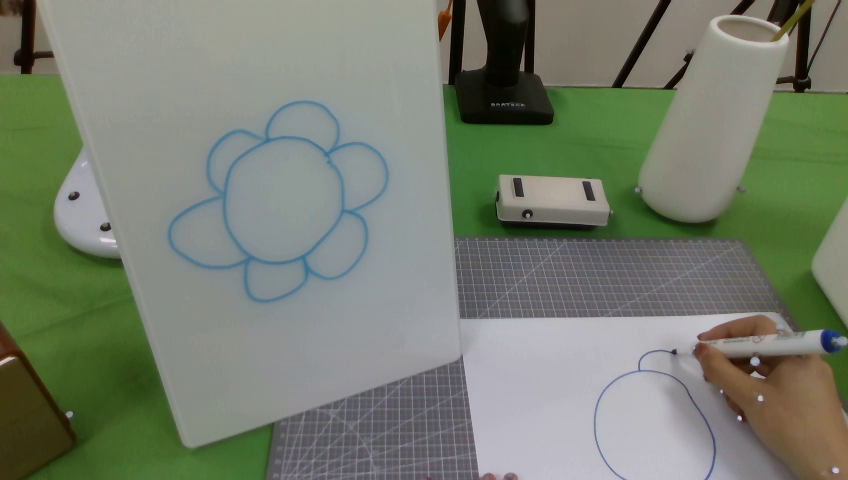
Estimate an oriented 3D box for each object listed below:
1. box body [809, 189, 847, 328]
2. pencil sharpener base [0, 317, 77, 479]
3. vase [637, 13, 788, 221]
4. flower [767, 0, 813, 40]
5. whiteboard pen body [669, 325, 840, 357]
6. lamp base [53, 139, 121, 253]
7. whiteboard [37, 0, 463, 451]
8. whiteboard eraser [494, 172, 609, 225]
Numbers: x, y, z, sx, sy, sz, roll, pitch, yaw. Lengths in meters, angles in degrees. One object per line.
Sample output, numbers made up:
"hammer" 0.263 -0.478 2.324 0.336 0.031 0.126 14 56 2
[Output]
"box body" 0.499 0.081 0.437 0.254 0.162 0.360 1 43 -3
"pencil sharpener base" -0.286 0.096 0.392 0.076 0.108 0.061 34 51 29
"vase" 0.286 -0.116 0.606 0.098 0.201 0.097 3 42 -3
"flower" 0.301 -0.167 0.540 0.044 0.363 0.038 -18 64 -32
"whiteboard pen body" 0.237 0.078 0.453 0.017 0.140 0.017 6 75 -23
"lamp base" -0.285 -0.105 0.557 0.178 0.182 0.160 29 48 27
"whiteboard" -0.105 -0.039 0.452 0.218 0.307 0.142 -14 26 -18
"whiteboard eraser" 0.130 -0.042 0.628 0.113 0.042 0.055 1 40 -2
